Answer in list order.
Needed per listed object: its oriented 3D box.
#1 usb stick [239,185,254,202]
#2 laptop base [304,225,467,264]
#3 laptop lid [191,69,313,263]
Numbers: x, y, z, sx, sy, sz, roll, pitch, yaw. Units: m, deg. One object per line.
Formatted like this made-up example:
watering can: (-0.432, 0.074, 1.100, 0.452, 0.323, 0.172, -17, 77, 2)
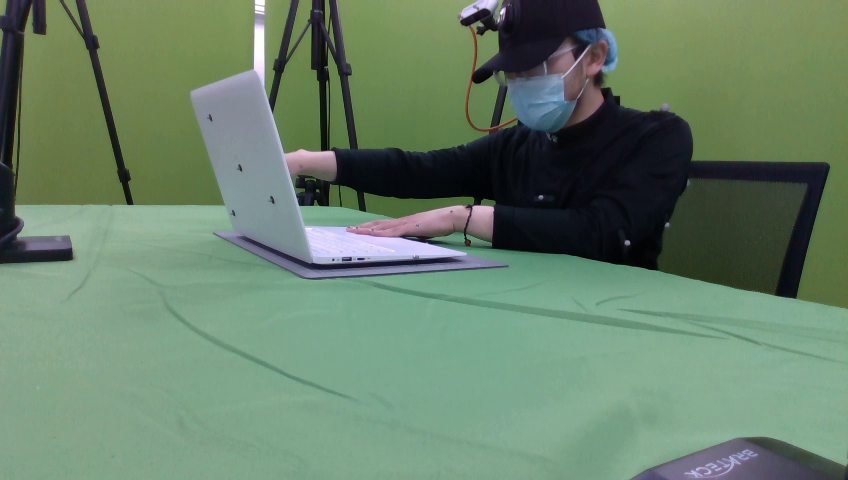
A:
usb stick: (-0.333, -0.086, 1.139, 0.021, 0.027, 0.059, 4, 12, -25)
laptop base: (-0.127, 0.005, 0.936, 0.237, 0.023, 0.352, 2, 6, -33)
laptop lid: (-0.252, -0.102, 0.839, 0.013, 0.242, 0.355, -22, 20, -28)
